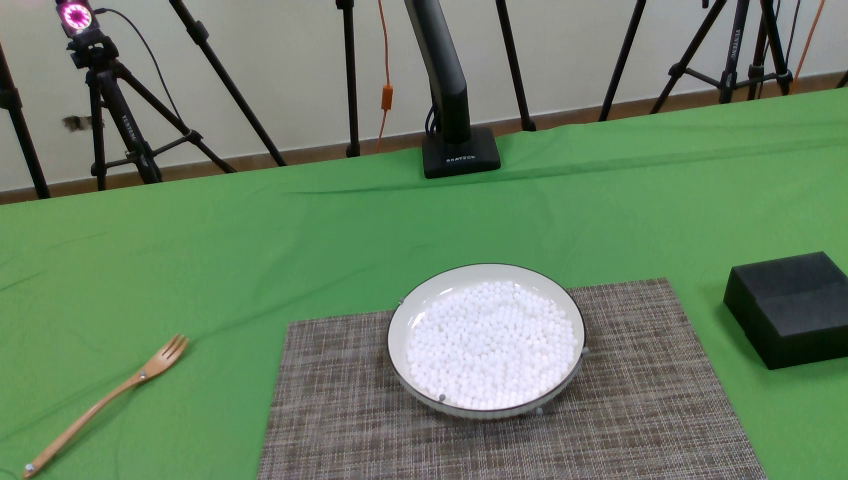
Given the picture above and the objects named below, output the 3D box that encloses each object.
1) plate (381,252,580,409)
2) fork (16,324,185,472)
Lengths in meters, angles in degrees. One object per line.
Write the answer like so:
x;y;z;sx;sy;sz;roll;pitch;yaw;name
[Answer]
0.059;0.094;0.645;0.209;0.038;0.207;-6;40;5;plate
-0.345;0.166;0.659;0.028;0.019;0.207;27;49;22;fork
